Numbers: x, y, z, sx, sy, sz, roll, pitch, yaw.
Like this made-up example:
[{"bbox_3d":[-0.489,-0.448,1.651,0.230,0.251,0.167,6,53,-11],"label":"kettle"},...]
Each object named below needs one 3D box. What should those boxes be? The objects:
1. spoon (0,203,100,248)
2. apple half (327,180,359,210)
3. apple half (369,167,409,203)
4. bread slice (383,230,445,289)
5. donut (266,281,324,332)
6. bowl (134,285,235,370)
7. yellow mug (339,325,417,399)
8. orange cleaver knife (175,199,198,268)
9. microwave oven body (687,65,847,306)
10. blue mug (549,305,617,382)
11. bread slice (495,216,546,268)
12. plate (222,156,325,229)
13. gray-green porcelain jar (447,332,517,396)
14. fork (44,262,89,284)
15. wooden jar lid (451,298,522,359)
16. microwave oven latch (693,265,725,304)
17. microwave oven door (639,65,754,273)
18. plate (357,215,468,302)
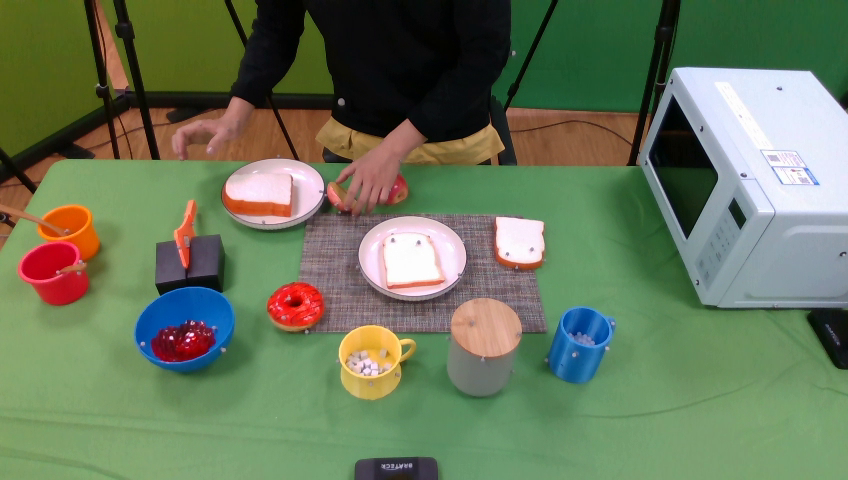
[{"bbox_3d":[-0.683,-0.031,1.088,0.195,0.021,0.041,33,33,-38],"label":"spoon"},{"bbox_3d":[-0.172,-0.084,1.246,0.033,0.082,0.081,-41,51,13],"label":"apple half"},{"bbox_3d":[-0.073,-0.122,1.284,0.081,0.053,0.074,-27,56,-27],"label":"apple half"},{"bbox_3d":[-0.028,0.035,1.145,0.107,0.018,0.133,-8,49,-12],"label":"bread slice"},{"bbox_3d":[-0.222,0.115,1.049,0.099,0.048,0.098,2,46,-2],"label":"donut"},{"bbox_3d":[-0.377,0.155,0.981,0.151,0.077,0.150,2,46,-2],"label":"bowl"},{"bbox_3d":[-0.072,0.190,0.978,0.131,0.064,0.099,-17,50,-20],"label":"yellow mug"},{"bbox_3d":[-0.438,-0.017,1.138,0.012,0.077,0.210,-13,27,-7],"label":"orange cleaver knife"},{"bbox_3d":[0.669,-0.111,1.176,0.326,0.261,0.439,0,46,-3],"label":"microwave oven body"},{"bbox_3d":[0.269,0.166,0.998,0.116,0.106,0.082,-19,51,-21],"label":"blue mug"},{"bbox_3d":[0.194,0.002,1.205,0.105,0.019,0.131,5,45,2],"label":"bread slice"},{"bbox_3d":[-0.308,-0.095,1.251,0.209,0.038,0.208,2,47,-2],"label":"plate"},{"bbox_3d":[0.091,0.178,0.960,0.106,0.127,0.105,2,46,-2],"label":"gray-green porcelain jar"},{"bbox_3d":[-0.598,0.053,1.013,0.207,0.019,0.028,-14,31,45],"label":"fork"},{"bbox_3d":[0.093,0.135,0.914,0.108,0.021,0.107,2,48,-3],"label":"wooden jar lid"},{"bbox_3d":[0.523,0.081,1.115,0.030,0.029,0.078,2,46,-1],"label":"microwave oven latch"},{"bbox_3d":[0.522,-0.147,1.193,0.039,0.245,0.353,0,47,-3],"label":"microwave oven door"},{"bbox_3d":[-0.022,0.037,1.141,0.208,0.039,0.206,2,46,-2],"label":"plate"}]
